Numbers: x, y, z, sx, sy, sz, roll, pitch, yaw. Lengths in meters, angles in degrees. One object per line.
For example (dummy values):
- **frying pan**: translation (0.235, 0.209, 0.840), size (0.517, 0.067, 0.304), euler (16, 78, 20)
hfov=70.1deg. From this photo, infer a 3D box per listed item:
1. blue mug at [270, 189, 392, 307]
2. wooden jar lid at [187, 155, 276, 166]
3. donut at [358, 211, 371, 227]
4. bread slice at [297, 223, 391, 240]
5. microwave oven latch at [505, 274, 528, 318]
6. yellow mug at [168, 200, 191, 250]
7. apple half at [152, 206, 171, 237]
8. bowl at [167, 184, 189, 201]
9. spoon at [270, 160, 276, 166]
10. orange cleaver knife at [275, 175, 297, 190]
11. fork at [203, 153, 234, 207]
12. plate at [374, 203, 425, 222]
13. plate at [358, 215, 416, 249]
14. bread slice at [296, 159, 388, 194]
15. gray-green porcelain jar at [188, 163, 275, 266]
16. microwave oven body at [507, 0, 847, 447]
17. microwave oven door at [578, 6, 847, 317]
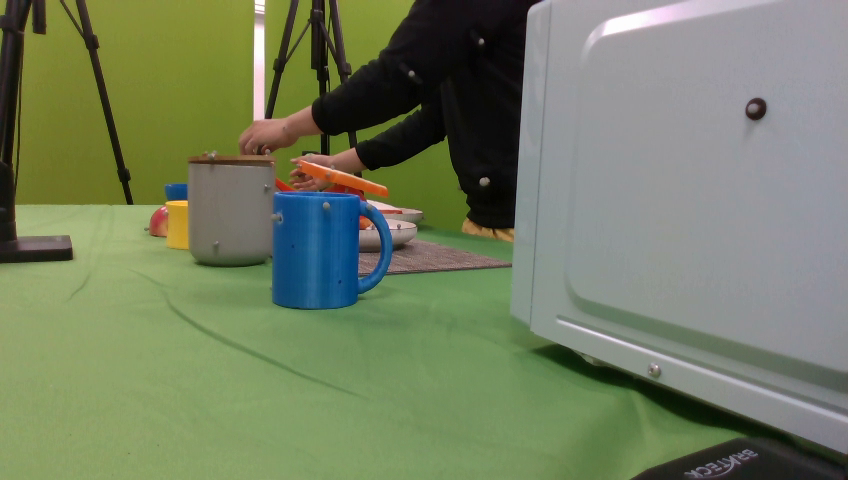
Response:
- **blue mug**: translation (-0.089, 0.005, 0.588), size (0.117, 0.106, 0.082), euler (1, 7, -10)
- **wooden jar lid**: translation (-0.244, -0.097, 0.771), size (0.108, 0.020, 0.108), euler (-1, 7, 0)
- **donut**: translation (-0.129, -0.041, 0.956), size (0.099, 0.048, 0.099), euler (2, 8, 0)
- **bread slice**: translation (-0.121, -0.015, 0.970), size (0.106, 0.018, 0.135), euler (9, 8, 40)
- **microwave oven latch**: translation (0.100, 0.041, 0.472), size (0.079, 0.029, 0.030), euler (-2, 8, -29)
- **yellow mug**: translation (-0.320, -0.022, 0.904), size (0.130, 0.064, 0.100), euler (8, 10, 36)
- **apple half**: translation (-0.415, -0.034, 1.017), size (0.081, 0.053, 0.074), euler (1, 10, -9)
- **bowl**: translation (-0.408, -0.064, 1.153), size (0.151, 0.077, 0.151), euler (2, 8, 0)
- **spoon**: translation (-0.396, -0.150, 1.548), size (0.042, 0.193, 0.021), euler (3, -37, -4)
- **orange cleaver knife**: translation (-0.283, -0.087, 1.343), size (0.212, 0.077, 0.012), euler (24, -16, -41)
- **fork**: translation (-0.480, -0.135, 1.411), size (0.028, 0.018, 0.207), euler (1, -34, 0)
- **plate**: translation (-0.102, -0.053, 1.300), size (0.209, 0.038, 0.209), euler (2, 8, 0)
- **plate**: translation (-0.116, -0.014, 0.967), size (0.208, 0.039, 0.207), euler (2, 7, 0)
- **bread slice**: translation (-0.132, -0.102, 0.952), size (0.132, 0.019, 0.104), euler (12, 6, -36)
- **gray-green porcelain jar**: translation (-0.246, -0.034, 0.780), size (0.106, 0.126, 0.106), euler (2, 7, 0)
- **microwave oven body**: translation (0.331, -0.042, 0.425), size (0.444, 0.260, 0.324), euler (-2, 8, -31)
- **microwave oven door**: translation (0.294, -0.067, 0.570), size (0.358, 0.243, 0.039), euler (-3, 9, -31)
